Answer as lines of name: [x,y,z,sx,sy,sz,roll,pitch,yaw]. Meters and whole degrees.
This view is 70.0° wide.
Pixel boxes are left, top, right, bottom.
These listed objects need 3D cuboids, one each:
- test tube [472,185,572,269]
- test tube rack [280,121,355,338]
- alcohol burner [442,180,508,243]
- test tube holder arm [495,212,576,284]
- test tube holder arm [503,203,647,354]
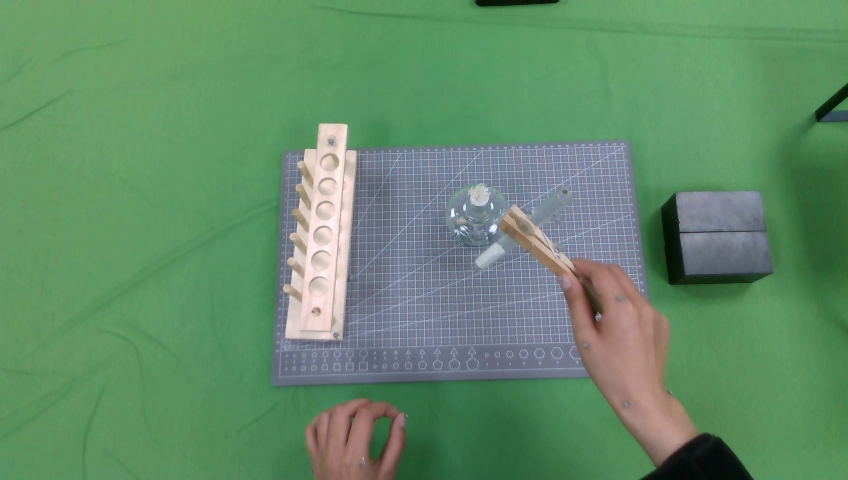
test tube: [0.083,-0.007,0.549,0.017,0.150,0.017,12,61,-21]
test tube rack: [-0.129,-0.012,0.712,0.067,0.085,0.241,2,74,2]
alcohol burner: [0.060,-0.038,0.702,0.078,0.119,0.077,0,75,2]
test tube holder arm: [0.101,0.008,0.542,0.088,0.015,0.010,39,55,-6]
test tube holder arm: [0.137,0.035,0.547,0.178,0.015,0.013,46,55,-1]
